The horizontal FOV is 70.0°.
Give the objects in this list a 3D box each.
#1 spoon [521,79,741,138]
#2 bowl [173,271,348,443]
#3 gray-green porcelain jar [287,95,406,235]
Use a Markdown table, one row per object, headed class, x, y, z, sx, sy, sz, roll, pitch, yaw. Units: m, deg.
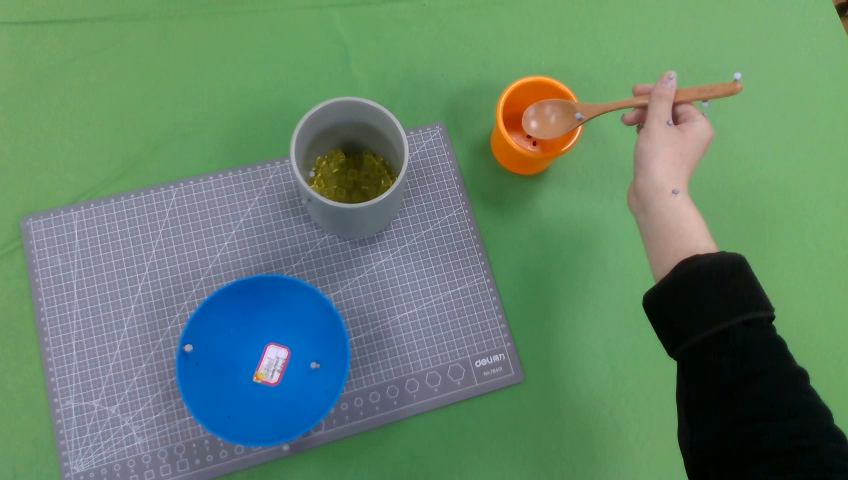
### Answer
| class | x | y | z | sx | sy | sz | roll | pitch | yaw |
| --- | --- | --- | --- | --- | --- | --- | --- | --- | --- |
| spoon | 0.181 | -0.124 | 0.553 | 0.193 | 0.022 | 0.041 | -3 | 78 | 34 |
| bowl | -0.146 | 0.110 | 0.569 | 0.151 | 0.077 | 0.150 | 2 | 77 | -6 |
| gray-green porcelain jar | -0.073 | -0.065 | 0.592 | 0.106 | 0.127 | 0.105 | 1 | 76 | -6 |
